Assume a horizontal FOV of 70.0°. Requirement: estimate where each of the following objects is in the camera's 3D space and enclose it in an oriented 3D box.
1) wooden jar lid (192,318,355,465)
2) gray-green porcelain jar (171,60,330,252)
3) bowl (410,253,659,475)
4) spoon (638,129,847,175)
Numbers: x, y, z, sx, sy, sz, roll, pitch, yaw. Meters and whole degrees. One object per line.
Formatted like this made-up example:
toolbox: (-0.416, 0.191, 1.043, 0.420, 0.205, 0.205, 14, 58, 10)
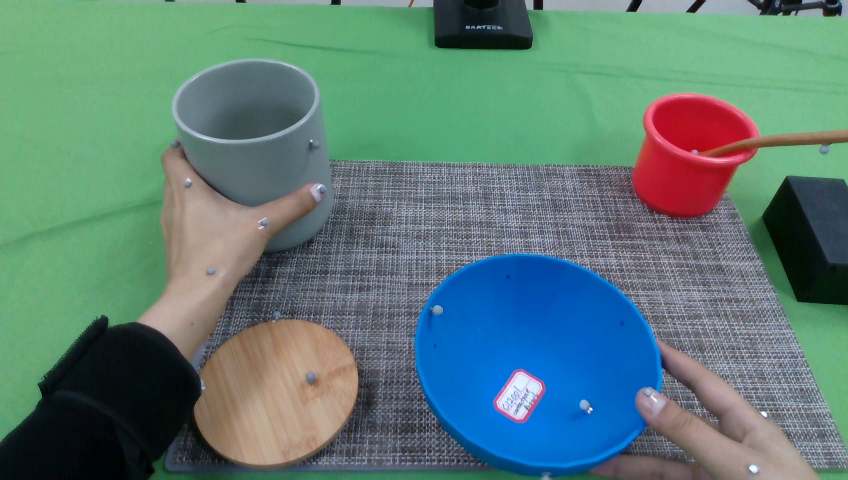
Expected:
wooden jar lid: (-0.101, 0.103, 0.415, 0.108, 0.021, 0.107, 1, 48, -1)
gray-green porcelain jar: (-0.132, -0.062, 0.488, 0.106, 0.127, 0.105, 1, 48, -1)
bowl: (0.065, 0.089, 0.396, 0.151, 0.077, 0.150, 2, 49, -2)
spoon: (0.263, -0.075, 0.508, 0.041, 0.193, 0.022, -34, 103, -26)
